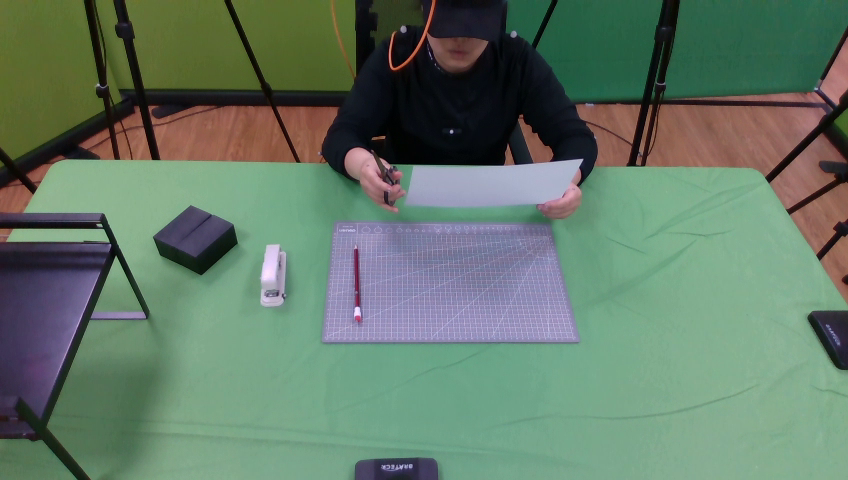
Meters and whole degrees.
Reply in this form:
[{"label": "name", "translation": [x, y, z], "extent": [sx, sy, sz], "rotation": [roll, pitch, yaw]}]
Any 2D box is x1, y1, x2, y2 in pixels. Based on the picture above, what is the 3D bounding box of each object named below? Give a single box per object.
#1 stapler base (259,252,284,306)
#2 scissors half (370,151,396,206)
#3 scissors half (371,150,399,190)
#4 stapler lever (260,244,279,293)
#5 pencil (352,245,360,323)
[{"label": "stapler base", "translation": [-0.279, 0.064, 1.113], "extent": [0.041, 0.024, 0.129], "rotation": [-1, 44, -9]}, {"label": "scissors half", "translation": [-0.073, -0.108, 1.072], "extent": [0.013, 0.176, 0.040], "rotation": [2, 64, 11]}, {"label": "scissors half", "translation": [-0.070, -0.127, 1.077], "extent": [0.013, 0.176, 0.040], "rotation": [8, 81, 12]}, {"label": "stapler lever", "translation": [-0.279, 0.045, 1.096], "extent": [0.027, 0.040, 0.117], "rotation": [-1, 44, -9]}, {"label": "pencil", "translation": [-0.127, 0.076, 1.120], "extent": [0.012, 0.012, 0.192], "rotation": [-2, 44, -7]}]
